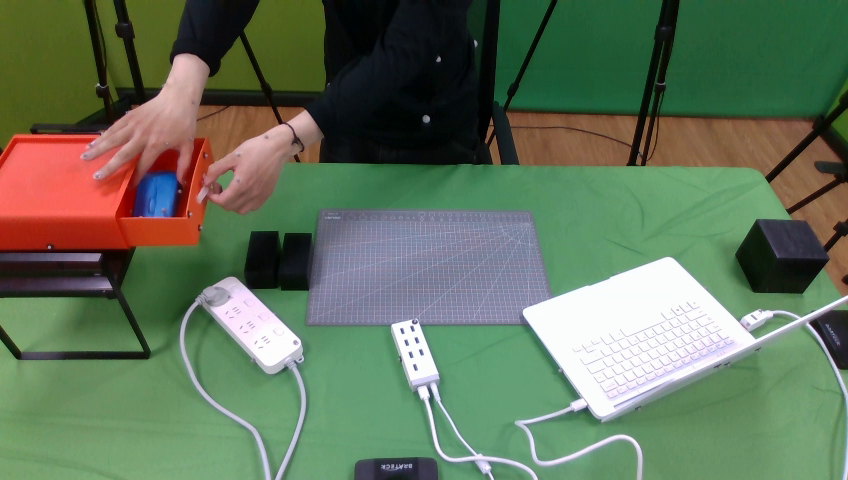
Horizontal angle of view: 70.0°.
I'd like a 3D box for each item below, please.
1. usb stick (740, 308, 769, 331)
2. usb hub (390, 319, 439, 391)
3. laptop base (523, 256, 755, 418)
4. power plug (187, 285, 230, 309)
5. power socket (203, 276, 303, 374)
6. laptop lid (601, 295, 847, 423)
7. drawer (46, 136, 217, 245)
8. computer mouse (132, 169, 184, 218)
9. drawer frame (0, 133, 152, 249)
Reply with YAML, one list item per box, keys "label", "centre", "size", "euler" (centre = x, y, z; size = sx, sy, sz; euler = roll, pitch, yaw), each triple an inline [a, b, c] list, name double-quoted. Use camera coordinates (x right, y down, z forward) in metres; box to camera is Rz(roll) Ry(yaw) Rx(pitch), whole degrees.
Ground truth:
- label: "usb stick"
  centre: [0.587, 0.146, 1.088]
  size: [0.059, 0.027, 0.021]
  euler: [-21, 48, -17]
- label: "usb hub"
  centre: [-0.016, 0.190, 1.013]
  size: [0.049, 0.025, 0.124]
  euler: [-10, 48, -15]
- label: "laptop base"
  centre: [0.381, 0.159, 1.077]
  size: [0.355, 0.023, 0.234]
  euler: [-17, 47, -20]
- label: "power plug"
  centre: [-0.370, 0.103, 1.039]
  size: [0.072, 0.053, 0.035]
  euler: [-25, 53, -23]
- label: "power socket"
  centre: [-0.296, 0.141, 1.034]
  size: [0.225, 0.033, 0.072]
  euler: [38, 55, 27]
- label: "laptop lid"
  centre: [0.449, 0.180, 0.905]
  size: [0.357, 0.242, 0.013]
  euler: [-17, 64, -20]
- label: "drawer"
  centre: [-0.450, -0.081, 0.953]
  size: [0.212, 0.073, 0.193]
  euler: [-1, 47, -5]
- label: "computer mouse"
  centre: [-0.422, -0.071, 0.964]
  size: [0.063, 0.041, 0.116]
  euler: [1, 51, -10]
- label: "drawer frame"
  centre: [-0.545, -0.078, 0.942]
  size: [0.214, 0.083, 0.200]
  euler: [-2, 47, -5]
